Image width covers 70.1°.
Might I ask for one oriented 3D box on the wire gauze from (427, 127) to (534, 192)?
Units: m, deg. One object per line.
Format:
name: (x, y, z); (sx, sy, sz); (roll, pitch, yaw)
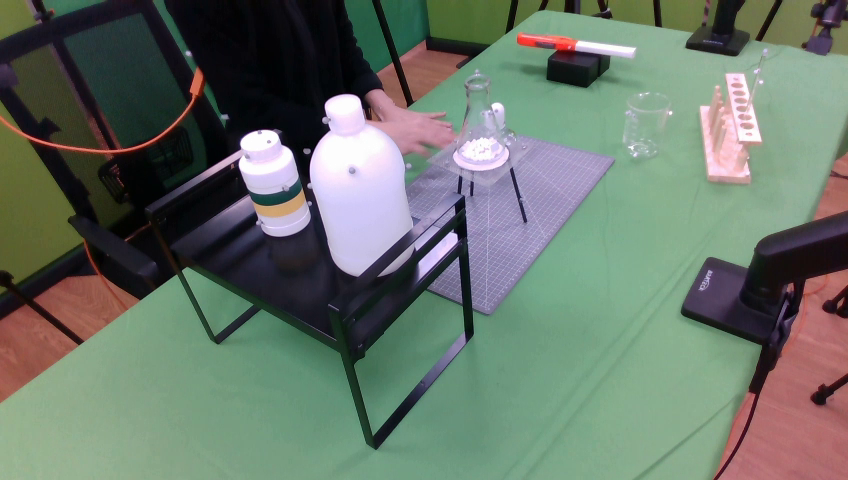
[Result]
wire gauze: (0.086, -0.130, 0.925); (0.124, 0.011, 0.122); (28, 54, 31)

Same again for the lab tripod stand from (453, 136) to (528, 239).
lab tripod stand: (0.094, -0.086, 0.974); (0.148, 0.132, 0.147); (-4, 43, 4)

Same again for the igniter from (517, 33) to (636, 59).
igniter: (0.336, -0.441, 1.369); (0.275, 0.025, 0.057); (16, 41, 23)

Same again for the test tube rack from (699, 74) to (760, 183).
test tube rack: (0.547, -0.208, 1.095); (0.066, 0.085, 0.242); (6, 42, 16)

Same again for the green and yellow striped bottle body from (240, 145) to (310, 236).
green and yellow striped bottle body: (-0.181, -0.068, 0.729); (0.063, 0.120, 0.063); (-4, 40, 4)

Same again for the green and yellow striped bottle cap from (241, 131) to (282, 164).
green and yellow striped bottle cap: (-0.187, -0.107, 0.695); (0.045, 0.020, 0.045); (-3, 39, 3)

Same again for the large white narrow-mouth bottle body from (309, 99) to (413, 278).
large white narrow-mouth bottle body: (-0.068, -0.057, 0.644); (0.102, 0.195, 0.101); (-3, 42, 4)

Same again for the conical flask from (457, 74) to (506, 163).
conical flask: (0.082, -0.181, 0.893); (0.075, 0.122, 0.075); (-4, 41, 4)

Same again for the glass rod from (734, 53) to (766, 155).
glass rod: (0.540, -0.220, 1.006); (0.008, 0.201, 0.008); (-5, 45, 6)

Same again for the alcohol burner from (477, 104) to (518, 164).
alcohol burner: (0.135, -0.200, 1.117); (0.078, 0.119, 0.077); (-4, 43, 4)

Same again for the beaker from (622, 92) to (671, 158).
beaker: (0.402, -0.210, 1.106); (0.074, 0.101, 0.083); (-9, 40, -2)

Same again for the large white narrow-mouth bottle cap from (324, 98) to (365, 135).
large white narrow-mouth bottle cap: (-0.076, -0.120, 0.585); (0.038, 0.024, 0.037); (-3, 42, 3)

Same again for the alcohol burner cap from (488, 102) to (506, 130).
alcohol burner cap: (0.133, -0.227, 1.092); (0.034, 0.048, 0.033); (-2, 47, 2)
